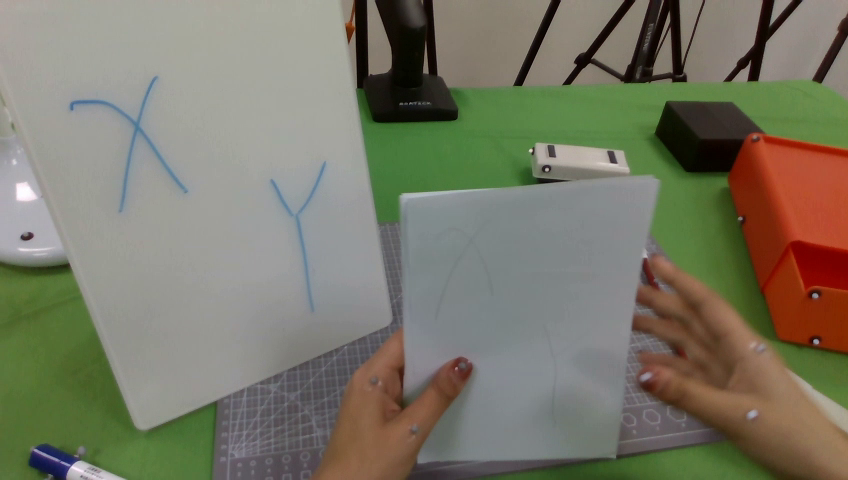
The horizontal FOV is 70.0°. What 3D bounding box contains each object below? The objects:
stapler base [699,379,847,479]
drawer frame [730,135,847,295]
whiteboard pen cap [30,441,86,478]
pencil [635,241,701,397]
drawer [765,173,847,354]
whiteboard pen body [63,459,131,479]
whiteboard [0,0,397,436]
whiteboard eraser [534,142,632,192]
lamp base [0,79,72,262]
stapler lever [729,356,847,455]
[{"bbox_3d":[0.290,0.147,0.481,0.130,0.024,0.041,25,48,16],"label":"stapler base"},{"bbox_3d":[0.458,-0.016,0.652,0.201,0.083,0.212,10,40,6],"label":"drawer frame"},{"bbox_3d":[-0.249,0.150,0.412,0.033,0.018,0.018,16,41,14],"label":"whiteboard pen cap"},{"bbox_3d":[0.230,0.067,0.577,0.012,0.012,0.192,3,42,-3],"label":"pencil"},{"bbox_3d":[0.445,0.024,0.606,0.194,0.074,0.210,11,40,7],"label":"drawer"},{"bbox_3d":[-0.194,0.167,0.400,0.140,0.017,0.017,16,41,12],"label":"whiteboard pen body"},{"bbox_3d":[-0.166,-0.048,0.479,0.218,0.307,0.142,-20,27,-26],"label":"whiteboard"},{"bbox_3d":[0.191,-0.088,0.735,0.113,0.042,0.055,7,42,0],"label":"whiteboard eraser"},{"bbox_3d":[-0.363,-0.096,0.562,0.178,0.182,0.160,22,43,22],"label":"lamp base"},{"bbox_3d":[0.294,0.129,0.463,0.117,0.040,0.026,26,48,15],"label":"stapler lever"}]
